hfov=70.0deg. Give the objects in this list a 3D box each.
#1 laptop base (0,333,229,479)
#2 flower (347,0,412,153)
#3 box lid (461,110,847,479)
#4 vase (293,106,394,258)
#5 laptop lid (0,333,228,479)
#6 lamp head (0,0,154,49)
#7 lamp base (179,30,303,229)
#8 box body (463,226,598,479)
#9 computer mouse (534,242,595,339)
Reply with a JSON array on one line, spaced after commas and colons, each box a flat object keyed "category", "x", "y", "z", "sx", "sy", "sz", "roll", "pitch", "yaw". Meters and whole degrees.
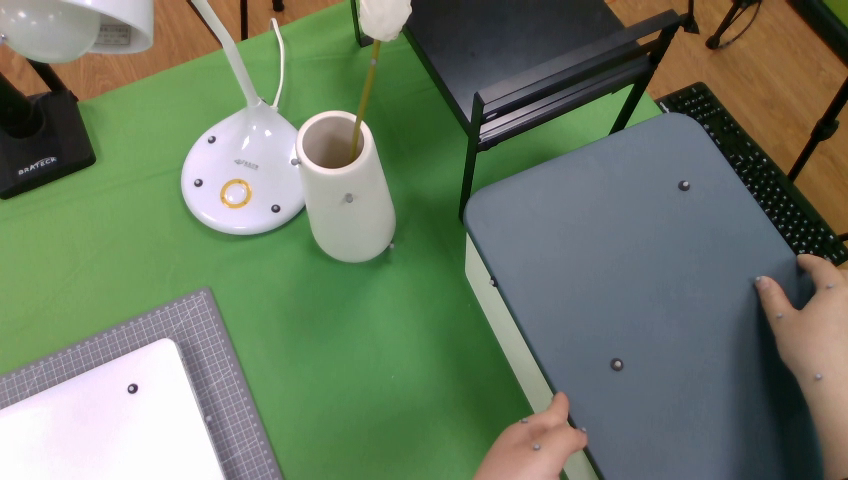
[{"category": "laptop base", "x": -0.377, "y": 0.266, "z": 0.592, "sx": 0.354, "sy": 0.023, "sz": 0.234, "roll": -24, "pitch": 74, "yaw": -11}, {"category": "flower", "x": -0.065, "y": -0.094, "z": 0.561, "sx": 0.038, "sy": 0.364, "sz": 0.043, "roll": -11, "pitch": 58, "yaw": -24}, {"category": "box lid", "x": 0.218, "y": 0.060, "z": 0.533, "sx": 0.263, "sy": 0.015, "sz": 0.368, "roll": -23, "pitch": 70, "yaw": -10}, {"category": "vase", "x": -0.084, "y": -0.055, "z": 0.633, "sx": 0.098, "sy": 0.201, "sz": 0.097, "roll": 0, "pitch": 67, "yaw": 1}, {"category": "laptop lid", "x": -0.375, "y": 0.264, "z": 0.581, "sx": 0.357, "sy": 0.013, "sz": 0.240, "roll": -23, "pitch": 73, "yaw": -10}, {"category": "lamp head", "x": -0.222, "y": -0.190, "z": 0.372, "sx": 0.112, "sy": 0.112, "sz": 0.122, "roll": 4, "pitch": 85, "yaw": 1}, {"category": "lamp base", "x": -0.212, "y": -0.128, "z": 0.669, "sx": 0.160, "sy": 0.181, "sz": 0.178, "roll": 7, "pitch": 65, "yaw": 2}, {"category": "box body", "x": 0.218, "y": 0.091, "z": 0.602, "sx": 0.254, "sy": 0.161, "sz": 0.361, "roll": -23, "pitch": 70, "yaw": -10}, {"category": "computer mouse", "x": 0.158, "y": 0.053, "z": 0.677, "sx": 0.063, "sy": 0.041, "sz": 0.116, "roll": 8, "pitch": 61, "yaw": 6}]
